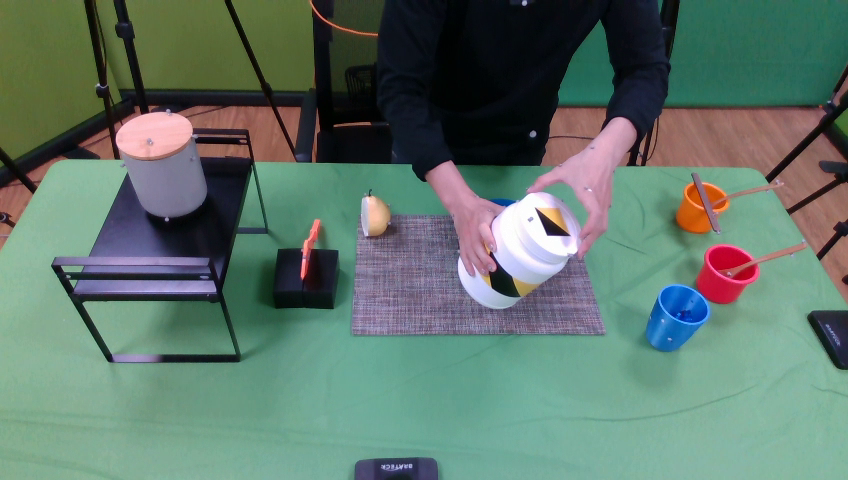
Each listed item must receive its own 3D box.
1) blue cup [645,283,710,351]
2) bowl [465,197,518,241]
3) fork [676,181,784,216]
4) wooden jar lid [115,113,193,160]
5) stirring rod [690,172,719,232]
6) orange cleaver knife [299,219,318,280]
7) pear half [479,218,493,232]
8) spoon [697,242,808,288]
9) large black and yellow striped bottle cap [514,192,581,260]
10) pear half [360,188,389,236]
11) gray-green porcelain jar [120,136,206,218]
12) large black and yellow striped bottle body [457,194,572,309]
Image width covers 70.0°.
[{"bbox_3d":[0.426,0.139,1.040,0.093,0.100,0.092,4,46,-3],"label":"blue cup"},{"bbox_3d":[0.149,-0.004,1.167,0.151,0.077,0.150,3,46,-3],"label":"bowl"},{"bbox_3d":[0.618,-0.083,1.235,0.019,0.207,0.028,54,40,-16],"label":"fork"},{"bbox_3d":[-0.399,-0.151,0.900,0.108,0.021,0.107,3,46,-3],"label":"wooden jar lid"},{"bbox_3d":[0.566,-0.080,1.224,0.014,0.006,0.175,3,46,1],"label":"stirring rod"},{"bbox_3d":[-0.214,0.013,1.126,0.012,0.077,0.210,5,17,-5],"label":"orange cleaver knife"},{"bbox_3d":[0.145,-0.013,1.167,0.070,0.031,0.087,-22,54,-19],"label":"pear half"},{"bbox_3d":[0.601,0.044,1.116,0.194,0.022,0.041,-29,34,30],"label":"spoon"},{"bbox_3d":[0.188,-0.023,0.919,0.115,0.019,0.114,18,51,-24],"label":"large black and yellow striped bottle cap"},{"bbox_3d":[-0.096,-0.060,1.181,0.056,0.110,0.076,-13,52,-17],"label":"pear half"},{"bbox_3d":[-0.403,-0.106,0.946,0.106,0.127,0.105,3,46,-2],"label":"gray-green porcelain jar"},{"bbox_3d":[0.150,0.019,0.981,0.131,0.184,0.130,16,53,-23],"label":"large black and yellow striped bottle body"}]
